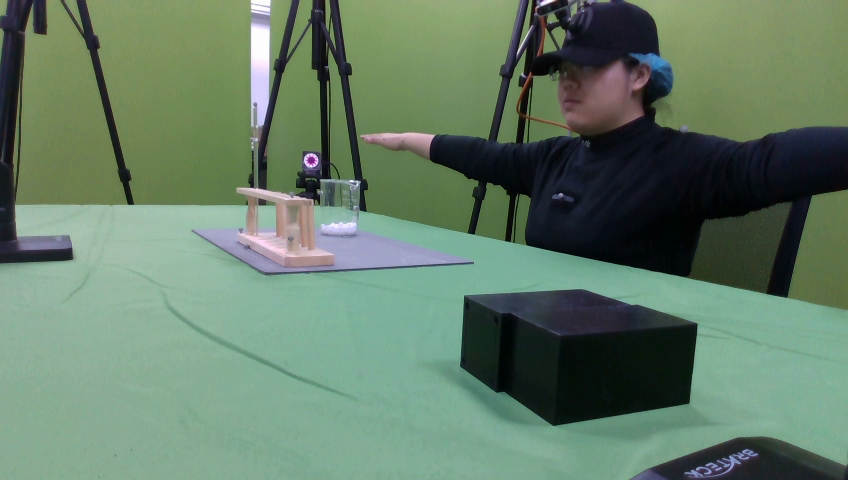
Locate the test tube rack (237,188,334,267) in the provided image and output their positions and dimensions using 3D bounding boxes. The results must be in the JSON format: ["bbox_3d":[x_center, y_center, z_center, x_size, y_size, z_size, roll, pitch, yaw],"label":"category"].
[{"bbox_3d":[-0.202,-0.024,0.855,0.067,0.085,0.241,-2,8,-30],"label":"test tube rack"}]

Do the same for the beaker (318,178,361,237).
[{"bbox_3d":[-0.150,-0.059,1.087,0.083,0.100,0.074,10,11,40],"label":"beaker"}]

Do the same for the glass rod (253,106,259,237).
[{"bbox_3d":[-0.254,-0.101,0.912,0.008,0.199,0.008,1,4,0],"label":"glass rod"}]
